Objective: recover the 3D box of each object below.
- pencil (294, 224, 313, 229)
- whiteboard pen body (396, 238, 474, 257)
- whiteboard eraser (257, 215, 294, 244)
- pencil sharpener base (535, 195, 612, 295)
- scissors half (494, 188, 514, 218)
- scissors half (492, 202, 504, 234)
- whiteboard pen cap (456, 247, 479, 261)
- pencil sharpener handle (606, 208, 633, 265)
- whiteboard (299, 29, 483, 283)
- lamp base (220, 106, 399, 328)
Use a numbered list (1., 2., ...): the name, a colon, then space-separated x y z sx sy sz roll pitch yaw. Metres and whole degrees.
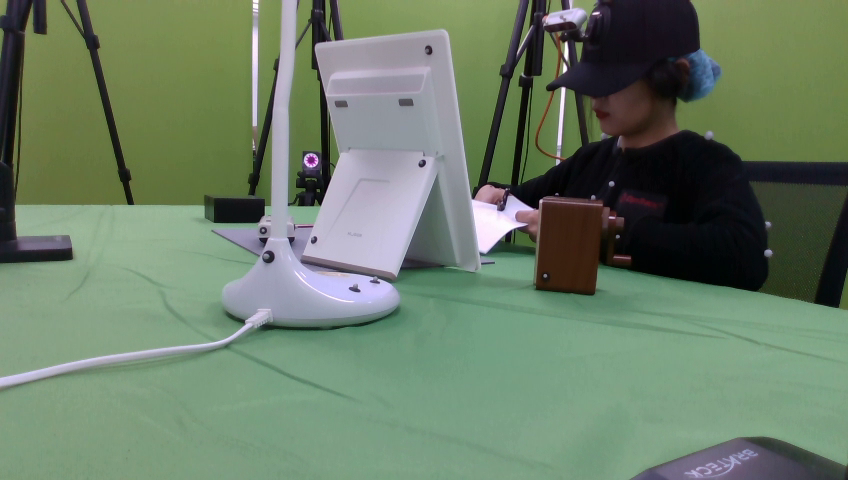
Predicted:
1. pencil: -0.221 -0.028 1.211 0.195 0.012 0.012 -5 10 -34
2. whiteboard pen body: 0.014 0.012 0.886 0.140 0.017 0.017 9 10 38
3. whiteboard eraser: -0.232 -0.016 0.951 0.056 0.042 0.112 2 7 -12
4. pencil sharpener base: 0.172 0.005 0.695 0.076 0.107 0.061 5 7 16
5. scissors half: 0.144 -0.065 1.101 0.013 0.040 0.175 18 22 12
6. scissors half: 0.135 -0.043 1.103 0.013 0.040 0.175 23 -11 11
7. whiteboard pen cap: 0.060 0.020 0.850 0.033 0.018 0.018 9 10 36
8. pencil sharpener handle: 0.223 -0.004 0.683 0.030 0.068 0.036 5 21 16
9. whiteboard: -0.074 -0.082 0.741 0.216 0.305 0.144 9 30 38
10. lamp base: -0.101 -0.023 0.531 0.160 0.180 0.179 4 10 10
